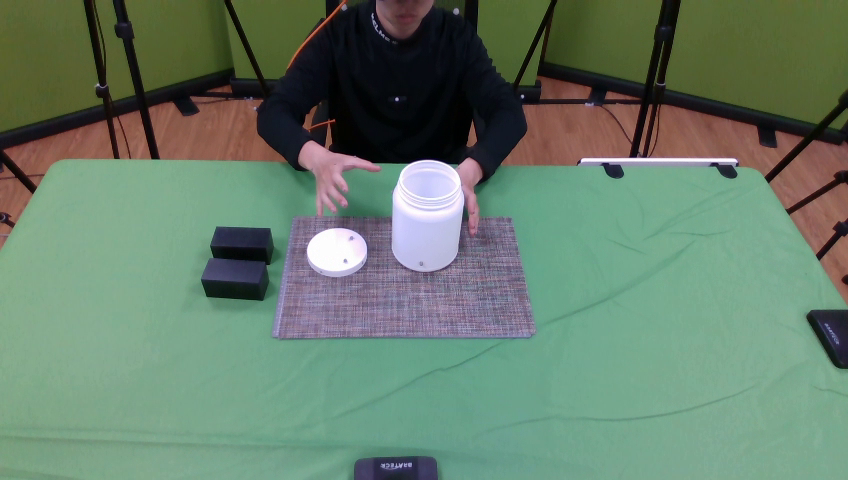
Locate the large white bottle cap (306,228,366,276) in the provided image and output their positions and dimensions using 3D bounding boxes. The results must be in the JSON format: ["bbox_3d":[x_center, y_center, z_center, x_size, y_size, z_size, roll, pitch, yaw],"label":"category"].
[{"bbox_3d":[-0.168,0.022,1.162,0.115,0.018,0.114,2,46,-2],"label":"large white bottle cap"}]

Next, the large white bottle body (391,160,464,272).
[{"bbox_3d":[0.005,-0.045,1.123,0.131,0.185,0.130,2,47,-2],"label":"large white bottle body"}]
